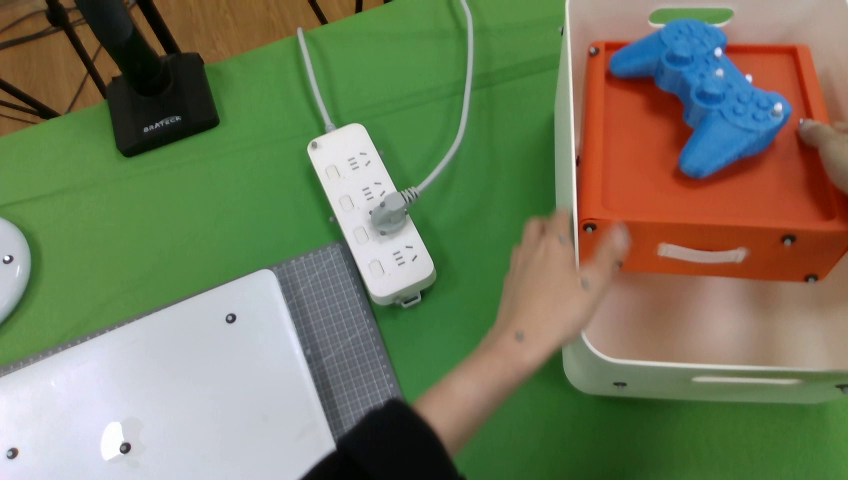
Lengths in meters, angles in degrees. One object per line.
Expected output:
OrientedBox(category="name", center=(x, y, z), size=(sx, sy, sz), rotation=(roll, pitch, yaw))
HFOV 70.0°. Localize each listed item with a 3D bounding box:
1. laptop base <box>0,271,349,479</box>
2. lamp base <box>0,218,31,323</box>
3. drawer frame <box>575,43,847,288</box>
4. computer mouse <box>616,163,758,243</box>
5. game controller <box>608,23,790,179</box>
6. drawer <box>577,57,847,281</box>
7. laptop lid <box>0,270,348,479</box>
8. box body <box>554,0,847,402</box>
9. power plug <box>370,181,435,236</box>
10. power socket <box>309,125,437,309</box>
OrientedBox(category="laptop base", center=(-0.270, 0.195, 0.569), size=(0.354, 0.023, 0.233), rotation=(-23, 69, -6))
OrientedBox(category="lamp base", center=(-0.522, 0.005, 0.587), size=(0.178, 0.182, 0.160), rotation=(24, 69, 18))
OrientedBox(category="drawer frame", center=(0.239, -0.074, 0.538), size=(0.201, 0.083, 0.212), rotation=(4, 56, 11))
OrientedBox(category="computer mouse", center=(0.230, -0.036, 0.533), size=(0.116, 0.041, 0.062), rotation=(8, 60, 18))
OrientedBox(category="game controller", center=(0.232, -0.127, 0.512), size=(0.097, 0.052, 0.153), rotation=(-14, 56, -7))
OrientedBox(category="drawer", center=(0.240, -0.071, 0.538), size=(0.194, 0.074, 0.210), rotation=(3, 55, 13))
OrientedBox(category="laptop lid", center=(-0.270, 0.192, 0.558), size=(0.357, 0.013, 0.239), rotation=(-22, 68, -5))
OrientedBox(category="box body", center=(0.253, -0.041, 0.558), size=(0.254, 0.161, 0.361), rotation=(1, 65, 5))
OrientedBox(category="power plug", center=(-0.019, -0.026, 0.619), size=(0.072, 0.053, 0.035), rotation=(-13, 63, -3))
OrientedBox(category="power socket", center=(-0.058, -0.031, 0.650), size=(0.072, 0.033, 0.224), rotation=(-23, 65, -8))
